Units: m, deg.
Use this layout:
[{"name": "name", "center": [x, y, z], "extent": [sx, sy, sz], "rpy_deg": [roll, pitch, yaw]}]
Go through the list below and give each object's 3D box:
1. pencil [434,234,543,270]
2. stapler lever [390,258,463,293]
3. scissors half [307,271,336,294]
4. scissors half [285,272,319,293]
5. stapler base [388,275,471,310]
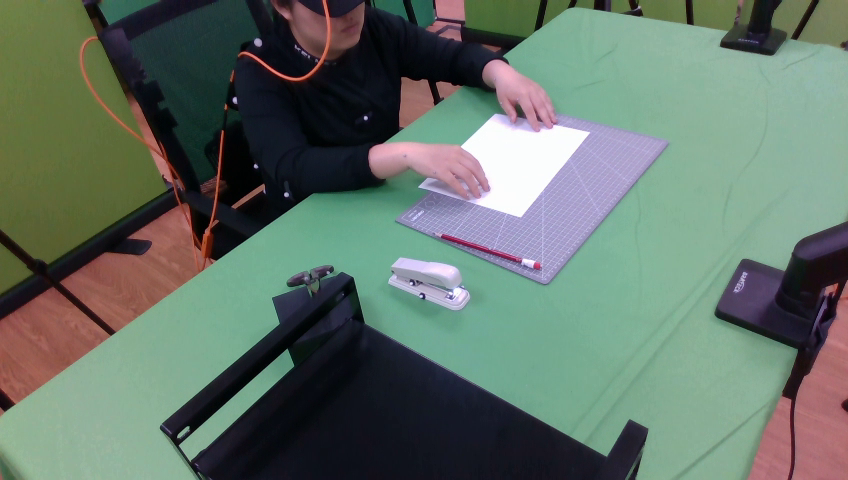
[{"name": "pencil", "center": [0.097, 0.015, 0.949], "extent": [0.192, 0.012, 0.012], "rpy_deg": [17, 46, 29]}, {"name": "stapler lever", "center": [0.003, 0.046, 0.881], "extent": [0.117, 0.040, 0.027], "rpy_deg": [17, 43, 29]}, {"name": "scissors half", "center": [-0.151, 0.061, 0.872], "extent": [0.040, 0.013, 0.175], "rpy_deg": [-4, 6, -4]}, {"name": "scissors half", "center": [-0.171, 0.063, 0.868], "extent": [0.040, 0.013, 0.174], "rpy_deg": [-11, 7, -21]}, {"name": "stapler base", "center": [0.007, 0.066, 0.897], "extent": [0.129, 0.024, 0.041], "rpy_deg": [17, 43, 29]}]
